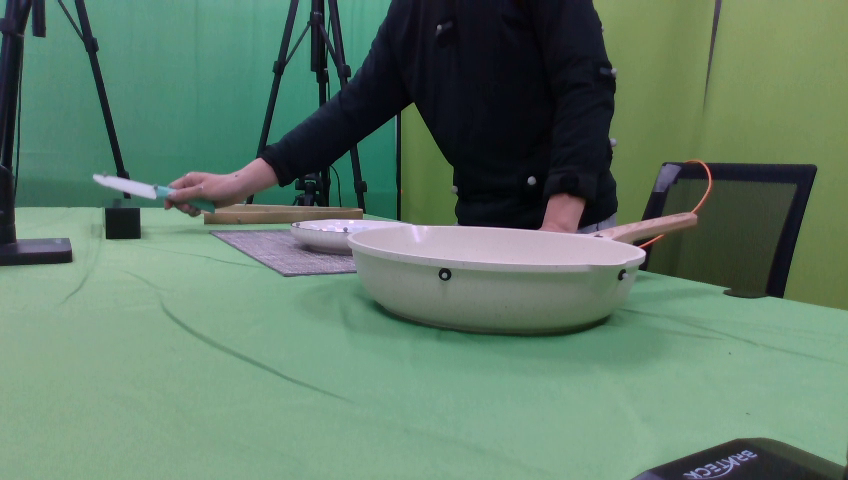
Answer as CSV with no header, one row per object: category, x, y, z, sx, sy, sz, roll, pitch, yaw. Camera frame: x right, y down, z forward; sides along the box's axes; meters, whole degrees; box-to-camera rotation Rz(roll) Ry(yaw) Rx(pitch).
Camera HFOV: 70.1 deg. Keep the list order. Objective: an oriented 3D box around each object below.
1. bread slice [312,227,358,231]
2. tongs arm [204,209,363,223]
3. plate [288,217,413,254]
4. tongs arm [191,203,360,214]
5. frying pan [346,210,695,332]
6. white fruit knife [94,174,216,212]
bread slice,-0.115,-0.005,0.950,0.134,0.018,0.107,3,6,-7
tongs arm,-0.293,-0.054,1.337,0.390,0.028,0.028,-3,6,-40
plate,-0.109,-0.007,0.956,0.208,0.039,0.207,2,7,0
tongs arm,-0.333,-0.067,1.403,0.387,0.026,0.050,0,8,-27
frying pan,0.153,0.009,0.668,0.490,0.102,0.305,-12,15,-32
white fruit knife,-0.475,-0.087,1.081,0.208,0.027,0.016,15,-13,-33
